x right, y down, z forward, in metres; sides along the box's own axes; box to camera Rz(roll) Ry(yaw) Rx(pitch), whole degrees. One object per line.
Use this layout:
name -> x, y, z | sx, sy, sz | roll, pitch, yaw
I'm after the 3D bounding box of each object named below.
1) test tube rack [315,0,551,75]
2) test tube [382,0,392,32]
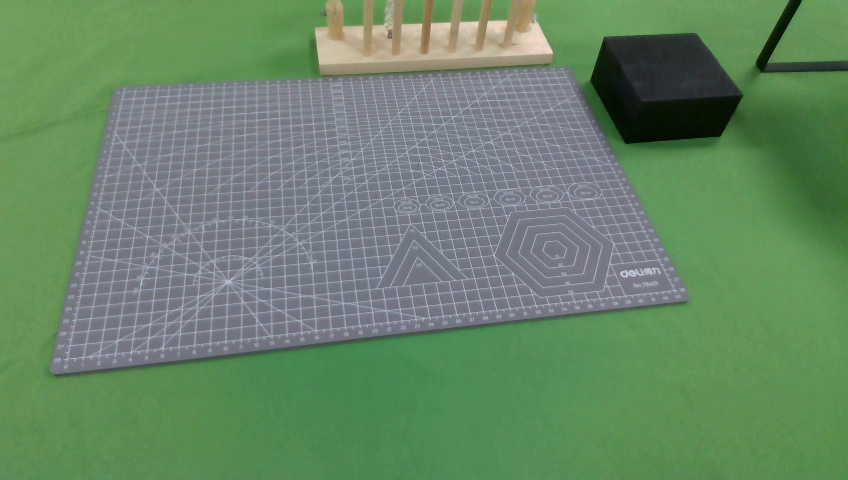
test tube rack -> 0.011, -0.228, 0.613 | 0.243, 0.086, 0.066 | -6, 52, -9
test tube -> -0.028, -0.270, 0.579 | 0.017, 0.151, 0.017 | 5, 46, -5
